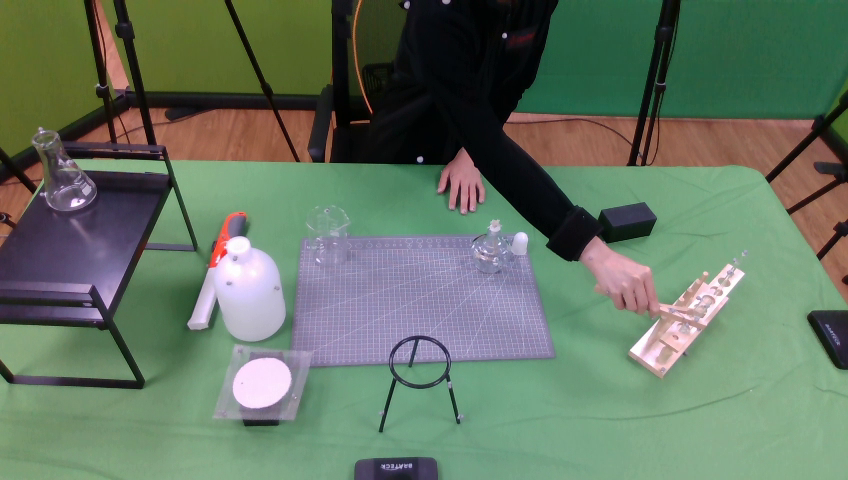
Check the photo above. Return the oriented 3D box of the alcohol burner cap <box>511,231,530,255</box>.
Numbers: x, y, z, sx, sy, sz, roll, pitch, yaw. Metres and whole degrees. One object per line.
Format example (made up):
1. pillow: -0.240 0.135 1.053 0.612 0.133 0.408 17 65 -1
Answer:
1. alcohol burner cap: 0.191 0.003 1.188 0.034 0.048 0.033 2 45 -2

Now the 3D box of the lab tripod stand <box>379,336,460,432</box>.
1. lab tripod stand: -0.011 0.214 0.911 0.148 0.132 0.147 1 45 0

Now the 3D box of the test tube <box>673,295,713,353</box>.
1. test tube: 0.427 0.138 0.976 0.017 0.151 0.017 3 48 -3

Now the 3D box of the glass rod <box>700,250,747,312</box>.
1. glass rod: 0.500 0.075 1.021 0.008 0.201 0.008 0 54 1

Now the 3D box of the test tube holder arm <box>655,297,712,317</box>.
1. test tube holder arm: 0.410 0.105 0.960 0.087 0.015 0.010 13 78 11

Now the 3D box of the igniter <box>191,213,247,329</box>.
1. igniter: -0.376 0.047 1.121 0.057 0.025 0.275 -4 46 6

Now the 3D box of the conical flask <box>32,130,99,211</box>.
1. conical flask: -0.565 -0.111 0.944 0.075 0.122 0.075 2 46 -2

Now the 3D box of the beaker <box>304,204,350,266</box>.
1. beaker: -0.178 -0.006 1.132 0.084 0.101 0.073 4 46 -1

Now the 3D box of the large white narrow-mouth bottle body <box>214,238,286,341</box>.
1. large white narrow-mouth bottle body: -0.285 0.073 0.986 0.102 0.195 0.101 2 46 -2

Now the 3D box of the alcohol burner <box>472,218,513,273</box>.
1. alcohol burner: 0.128 0.005 1.132 0.078 0.120 0.077 0 47 0

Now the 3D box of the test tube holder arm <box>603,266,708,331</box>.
1. test tube holder arm: 0.368 0.092 0.970 0.178 0.015 0.013 31 81 15

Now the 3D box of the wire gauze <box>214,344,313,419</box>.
1. wire gauze: -0.241 0.213 0.915 0.121 0.011 0.124 5 46 1

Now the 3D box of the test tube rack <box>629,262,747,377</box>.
1. test tube rack: 0.464 0.126 1.061 0.242 0.085 0.066 -34 56 -31

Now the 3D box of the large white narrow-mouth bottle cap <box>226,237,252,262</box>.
1. large white narrow-mouth bottle cap: -0.282 0.014 0.923 0.038 0.024 0.037 2 46 -2
